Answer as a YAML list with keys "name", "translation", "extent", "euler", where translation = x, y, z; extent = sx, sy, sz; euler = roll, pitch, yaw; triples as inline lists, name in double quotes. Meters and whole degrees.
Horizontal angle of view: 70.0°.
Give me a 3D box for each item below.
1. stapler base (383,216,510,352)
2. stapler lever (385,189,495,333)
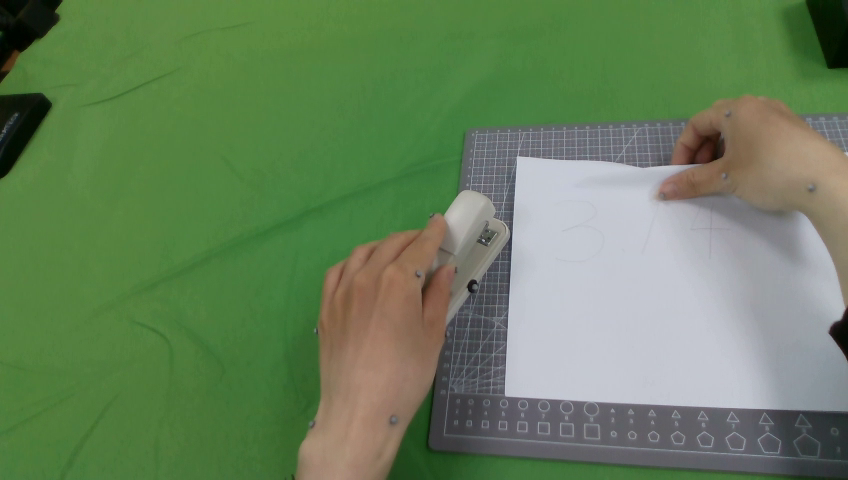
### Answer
- name: "stapler base"
  translation: [0.018, 0.024, 0.473]
  extent: [0.041, 0.025, 0.130]
  euler: [27, 68, 29]
- name: "stapler lever"
  translation: [0.013, 0.012, 0.451]
  extent: [0.026, 0.040, 0.118]
  euler: [27, 68, 29]
